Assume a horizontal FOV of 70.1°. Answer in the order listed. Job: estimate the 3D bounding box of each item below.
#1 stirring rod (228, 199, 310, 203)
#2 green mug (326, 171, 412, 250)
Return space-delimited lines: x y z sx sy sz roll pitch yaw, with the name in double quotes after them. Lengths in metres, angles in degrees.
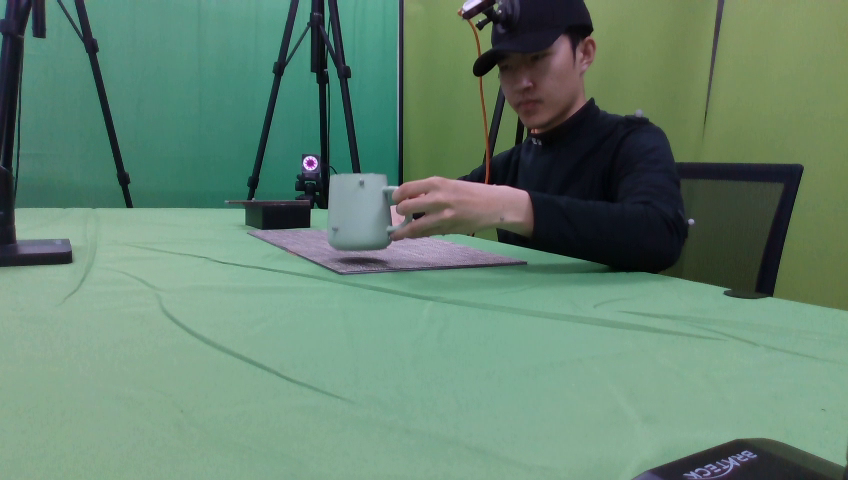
-0.314 -0.080 1.239 0.177 0.006 0.014 -4 10 -40 "stirring rod"
-0.075 -0.041 0.835 0.125 0.105 0.093 0 4 22 "green mug"
